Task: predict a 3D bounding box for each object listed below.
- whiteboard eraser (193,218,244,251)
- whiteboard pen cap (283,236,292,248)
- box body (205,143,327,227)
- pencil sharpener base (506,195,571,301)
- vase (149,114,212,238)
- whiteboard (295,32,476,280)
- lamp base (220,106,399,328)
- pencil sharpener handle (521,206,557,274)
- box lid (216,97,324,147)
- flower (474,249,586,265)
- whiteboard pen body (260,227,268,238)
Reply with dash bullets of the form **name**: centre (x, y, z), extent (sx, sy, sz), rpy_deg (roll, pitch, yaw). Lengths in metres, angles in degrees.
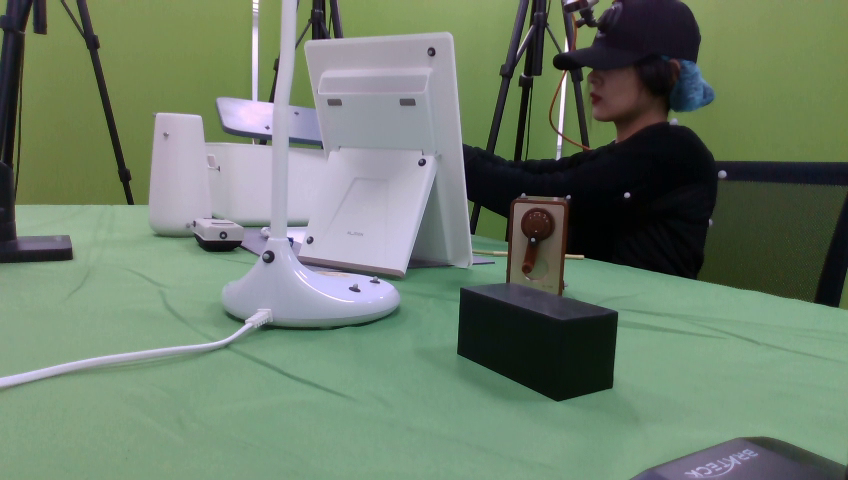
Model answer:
- **whiteboard eraser**: centre (-0.307, -0.010, 0.900), extent (0.056, 0.042, 0.112), rpy_deg (-4, 10, -28)
- **whiteboard pen cap**: centre (-0.211, 0.003, 0.913), extent (0.018, 0.018, 0.033), rpy_deg (-2, 6, -28)
- **box body**: centre (-0.276, -0.122, 1.320), extent (0.366, 0.160, 0.253), rpy_deg (-2, 9, -30)
- **pencil sharpener base**: centre (0.126, 0.007, 0.662), extent (0.061, 0.107, 0.077), rpy_deg (4, 8, 13)
- **vase**: centre (-0.405, -0.106, 1.005), extent (0.098, 0.200, 0.098), rpy_deg (2, 6, 0)
- **whiteboard**: centre (-0.076, -0.084, 0.747), extent (0.216, 0.305, 0.144), rpy_deg (7, 28, 29)
- **lamp base**: centre (-0.102, -0.023, 0.531), extent (0.160, 0.180, 0.179), rpy_deg (4, 10, 10)
- **pencil sharpener handle**: centre (0.112, 0.000, 0.611), extent (0.036, 0.067, 0.031), rpy_deg (13, 10, 11)
- **box lid**: centre (-0.243, -0.244, 1.292), extent (0.373, 0.015, 0.262), rpy_deg (2, 26, -25)
- **flower**: centre (0.072, 0.016, 0.935), extent (0.362, 0.038, 0.044), rpy_deg (7, 1, -2)
- **whiteboard pen body**: centre (-0.239, -0.005, 0.964), extent (0.017, 0.017, 0.140), rpy_deg (-2, 9, -28)
